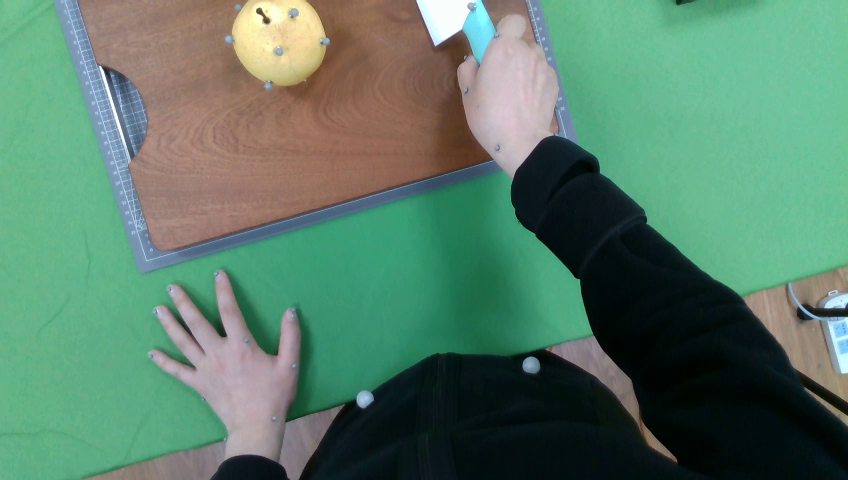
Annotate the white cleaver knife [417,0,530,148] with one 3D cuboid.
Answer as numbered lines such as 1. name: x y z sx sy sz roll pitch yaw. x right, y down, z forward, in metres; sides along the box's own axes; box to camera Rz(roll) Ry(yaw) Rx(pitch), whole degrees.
1. white cleaver knife: 0.025 -0.217 0.547 0.065 0.021 0.286 -22 88 41

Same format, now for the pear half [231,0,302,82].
1. pear half: -0.137 -0.175 0.511 0.056 0.110 0.076 -14 88 -1

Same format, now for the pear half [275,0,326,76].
1. pear half: -0.102 -0.182 0.521 0.031 0.088 0.070 -13 88 -1
